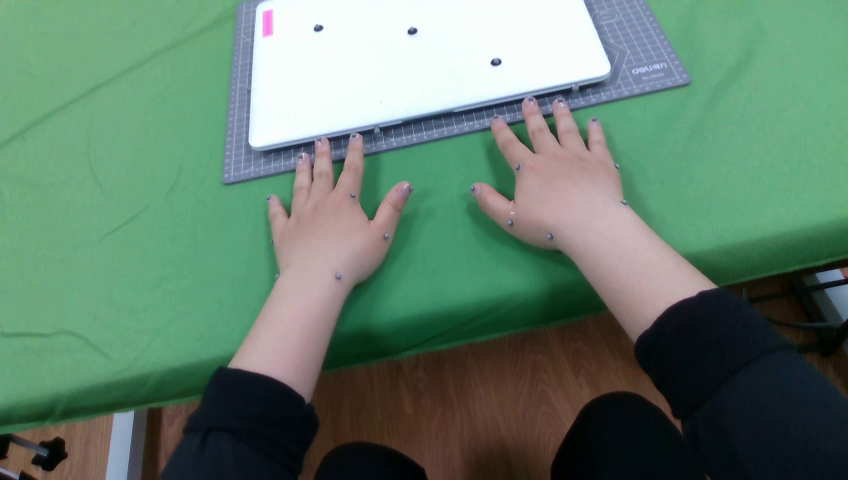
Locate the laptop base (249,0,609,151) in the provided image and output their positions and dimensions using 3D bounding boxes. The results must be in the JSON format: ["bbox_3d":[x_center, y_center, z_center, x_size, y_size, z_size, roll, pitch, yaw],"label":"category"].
[{"bbox_3d":[-0.010,-0.209,0.643,0.354,0.023,0.233,-11,58,4],"label":"laptop base"}]

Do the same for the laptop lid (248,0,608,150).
[{"bbox_3d":[-0.012,-0.214,0.632,0.356,0.013,0.239,-10,57,5],"label":"laptop lid"}]
